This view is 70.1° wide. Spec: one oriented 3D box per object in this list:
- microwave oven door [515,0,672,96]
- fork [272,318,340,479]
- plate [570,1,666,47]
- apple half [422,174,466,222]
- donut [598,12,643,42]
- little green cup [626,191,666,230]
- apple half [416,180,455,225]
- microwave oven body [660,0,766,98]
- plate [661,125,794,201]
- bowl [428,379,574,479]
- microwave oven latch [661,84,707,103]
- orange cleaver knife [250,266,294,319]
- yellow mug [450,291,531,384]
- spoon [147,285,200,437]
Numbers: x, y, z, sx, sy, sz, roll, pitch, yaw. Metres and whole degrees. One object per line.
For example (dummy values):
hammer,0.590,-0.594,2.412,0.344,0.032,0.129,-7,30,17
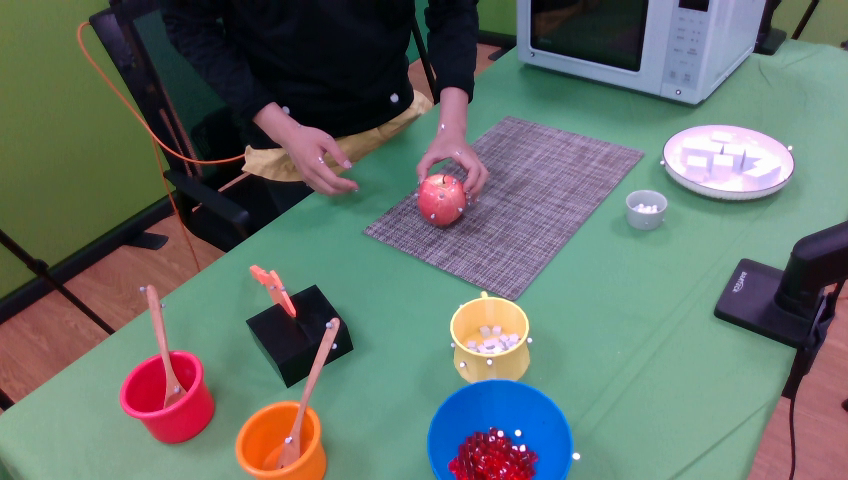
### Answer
microwave oven door,0.343,-0.454,1.259,0.353,0.245,0.039,26,51,33
fork,-0.131,0.186,0.676,0.028,0.019,0.207,17,90,28
plate,0.437,-0.485,1.370,0.209,0.038,0.208,-4,41,4
apple half,0.037,-0.072,0.987,0.080,0.075,0.053,27,45,36
donut,0.437,-0.475,1.346,0.099,0.048,0.098,-16,24,8
little green cup,0.352,-0.046,0.963,0.061,0.039,0.061,-4,40,4
apple half,0.011,-0.052,0.965,0.080,0.081,0.033,28,47,34
microwave oven body,0.472,-0.514,1.317,0.438,0.261,0.327,26,51,34
plate,0.513,-0.128,1.035,0.207,0.039,0.206,-4,40,4
bowl,0.082,0.233,0.644,0.151,0.077,0.150,-4,40,4
microwave oven latch,0.517,-0.296,1.204,0.078,0.029,0.030,26,51,34
orange cleaver knife,-0.221,0.073,0.876,0.012,0.077,0.210,-24,12,-22
yellow mug,0.085,0.120,0.786,0.100,0.064,0.130,-7,39,1
spoon,-0.318,0.148,0.754,0.042,0.021,0.193,-15,85,-9
